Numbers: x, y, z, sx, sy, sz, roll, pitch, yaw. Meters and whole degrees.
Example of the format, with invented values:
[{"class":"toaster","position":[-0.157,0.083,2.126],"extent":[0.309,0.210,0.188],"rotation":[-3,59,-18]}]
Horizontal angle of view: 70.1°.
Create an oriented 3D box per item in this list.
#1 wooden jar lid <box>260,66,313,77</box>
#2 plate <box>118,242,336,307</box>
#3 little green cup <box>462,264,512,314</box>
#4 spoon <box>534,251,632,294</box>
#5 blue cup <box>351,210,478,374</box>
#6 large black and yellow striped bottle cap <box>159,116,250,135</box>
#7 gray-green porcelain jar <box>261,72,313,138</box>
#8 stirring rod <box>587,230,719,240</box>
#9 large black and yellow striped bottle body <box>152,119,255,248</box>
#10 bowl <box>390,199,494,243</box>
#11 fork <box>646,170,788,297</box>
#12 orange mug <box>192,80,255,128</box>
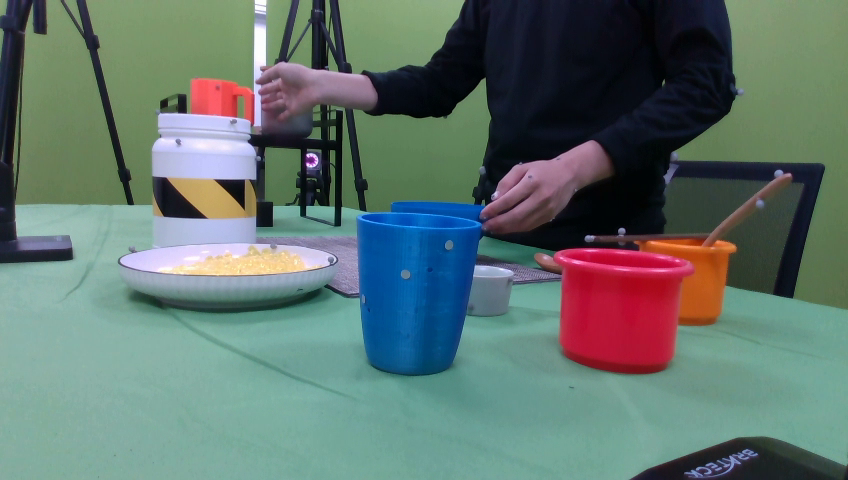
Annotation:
[{"class":"wooden jar lid","position":[-0.283,-0.339,1.244],"extent":[0.108,0.020,0.108],"rotation":[5,9,0]},{"class":"plate","position":[-0.194,0.033,0.615],"extent":[0.209,0.038,0.209],"rotation":[2,7,0]},{"class":"little green cup","position":[0.053,0.047,0.579],"extent":[0.061,0.038,0.061],"rotation":[3,8,0]},{"class":"spoon","position":[0.193,0.038,0.753],"extent":[0.042,0.021,0.193],"rotation":[15,2,-21]},{"class":"blue cup","position":[-0.009,0.034,0.414],"extent":[0.093,0.100,0.092],"rotation":[4,8,0]},{"class":"large black and yellow striped bottle cap","position":[-0.292,-0.153,0.810],"extent":[0.115,0.019,0.115],"rotation":[3,8,0]},{"class":"gray-green porcelain jar","position":[-0.284,-0.276,1.253],"extent":[0.106,0.126,0.106],"rotation":[2,8,0]},{"class":"stirring rod","position":[0.226,-0.005,0.587],"extent":[0.177,0.006,0.014],"rotation":[-2,9,-29]},{"class":"large black and yellow striped bottle body","position":[-0.296,-0.070,0.819],"extent":[0.131,0.184,0.130],"rotation":[2,7,0]},{"class":"bowl","position":[0.023,-0.015,0.872],"extent":[0.151,0.077,0.151],"rotation":[3,7,0]},{"class":"fork","position":[0.256,0.004,0.543],"extent":[0.028,0.018,0.207],"rotation":[3,-36,-9]},{"class":"orange mug","position":[-0.389,-0.257,1.172],"extent":[0.126,0.100,0.083],"rotation":[-1,6,9]}]
